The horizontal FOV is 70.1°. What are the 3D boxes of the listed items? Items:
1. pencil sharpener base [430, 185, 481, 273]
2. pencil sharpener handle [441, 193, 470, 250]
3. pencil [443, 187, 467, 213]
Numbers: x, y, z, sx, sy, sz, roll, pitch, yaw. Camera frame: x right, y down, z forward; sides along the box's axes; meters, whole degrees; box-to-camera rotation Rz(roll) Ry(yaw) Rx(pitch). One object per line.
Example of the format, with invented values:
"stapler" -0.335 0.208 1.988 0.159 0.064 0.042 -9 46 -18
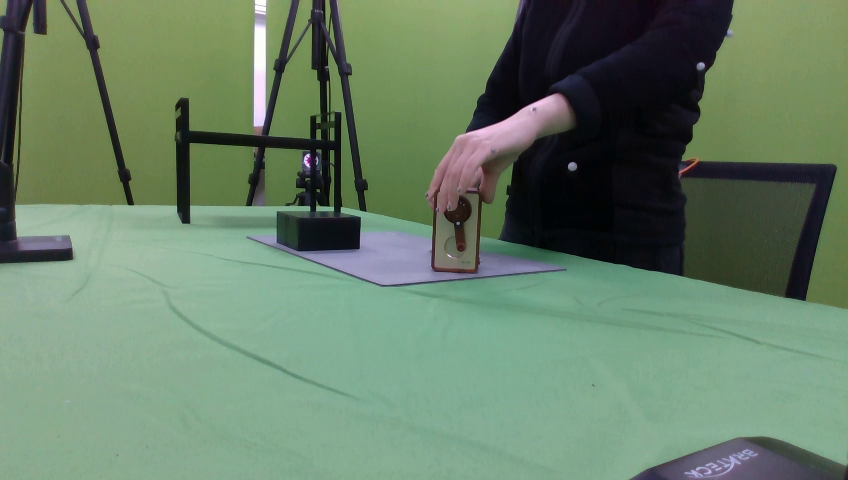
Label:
"pencil sharpener base" 0.041 -0.016 0.783 0.061 0.107 0.077 3 8 4
"pencil sharpener handle" 0.041 -0.022 0.731 0.036 0.067 0.030 -11 7 6
"pencil" 0.045 -0.059 0.883 0.012 0.012 0.194 4 14 12
